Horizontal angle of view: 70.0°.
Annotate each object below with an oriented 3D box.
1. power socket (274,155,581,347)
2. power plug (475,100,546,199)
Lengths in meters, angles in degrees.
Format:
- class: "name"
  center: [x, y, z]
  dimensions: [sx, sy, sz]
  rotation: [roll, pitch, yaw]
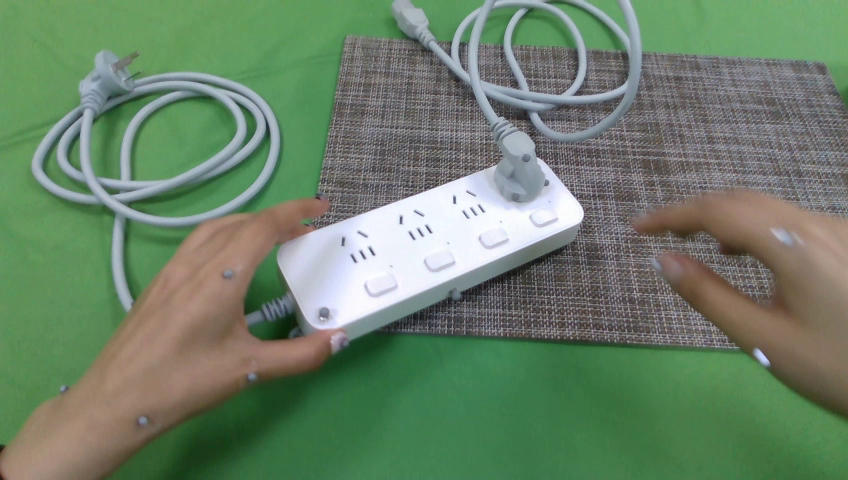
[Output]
- class: "power socket"
  center: [0.008, 0.000, 0.409]
  dimensions: [0.227, 0.033, 0.071]
  rotation: [-22, 61, -22]
- class: "power plug"
  center: [0.060, -0.060, 0.431]
  dimensions: [0.035, 0.053, 0.072]
  rotation: [-12, 60, -15]
